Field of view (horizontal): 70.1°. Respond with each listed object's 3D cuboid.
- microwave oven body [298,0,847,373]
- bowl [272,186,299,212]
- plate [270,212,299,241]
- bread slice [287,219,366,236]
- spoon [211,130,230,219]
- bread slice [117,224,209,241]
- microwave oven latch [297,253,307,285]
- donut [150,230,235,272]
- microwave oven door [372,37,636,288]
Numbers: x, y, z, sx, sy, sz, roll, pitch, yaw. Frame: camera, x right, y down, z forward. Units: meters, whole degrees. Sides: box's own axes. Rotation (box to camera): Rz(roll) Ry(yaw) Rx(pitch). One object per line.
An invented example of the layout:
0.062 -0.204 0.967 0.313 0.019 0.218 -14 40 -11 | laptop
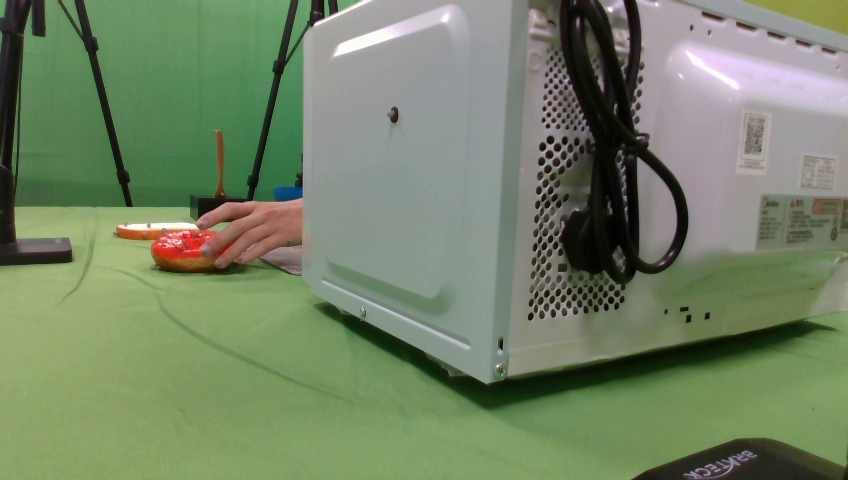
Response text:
0.151 -0.055 0.542 0.444 0.260 0.324 -2 7 -33 | microwave oven body
-0.254 -0.075 1.318 0.151 0.077 0.151 2 7 0 | bowl
-0.162 -0.022 1.058 0.208 0.039 0.207 2 7 0 | plate
-0.170 -0.023 1.056 0.134 0.018 0.107 1 7 -6 | bread slice
-0.436 -0.138 1.296 0.042 0.193 0.021 -3 23 -27 | spoon
-0.443 -0.014 1.022 0.132 0.019 0.104 -3 8 -45 | bread slice
-0.082 0.027 0.582 0.079 0.029 0.030 -1 7 -32 | microwave oven latch
-0.285 0.014 0.747 0.099 0.048 0.099 4 10 0 | donut
0.110 -0.080 0.686 0.358 0.243 0.039 -2 9 -33 | microwave oven door
